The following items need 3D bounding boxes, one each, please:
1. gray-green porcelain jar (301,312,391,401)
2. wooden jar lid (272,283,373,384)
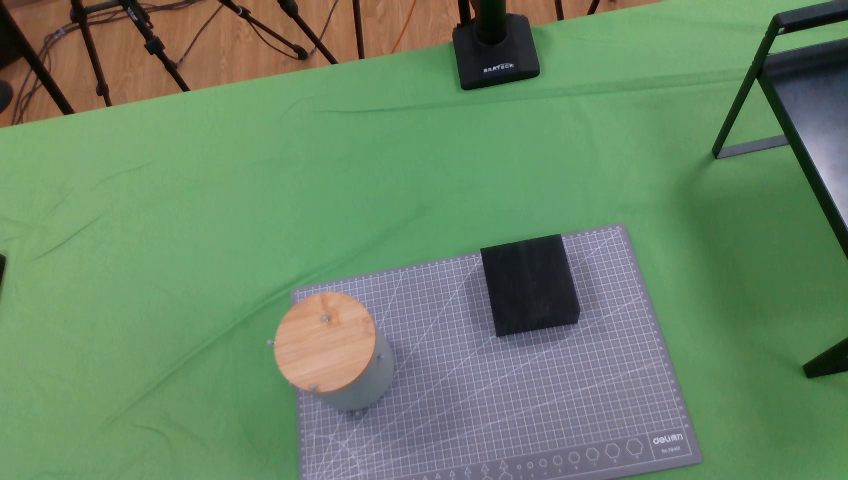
[{"bbox_3d":[-0.096,0.126,0.699,0.106,0.127,0.105,-3,65,7],"label":"gray-green porcelain jar"},{"bbox_3d":[-0.106,0.100,0.643,0.108,0.021,0.107,-2,68,6],"label":"wooden jar lid"}]
